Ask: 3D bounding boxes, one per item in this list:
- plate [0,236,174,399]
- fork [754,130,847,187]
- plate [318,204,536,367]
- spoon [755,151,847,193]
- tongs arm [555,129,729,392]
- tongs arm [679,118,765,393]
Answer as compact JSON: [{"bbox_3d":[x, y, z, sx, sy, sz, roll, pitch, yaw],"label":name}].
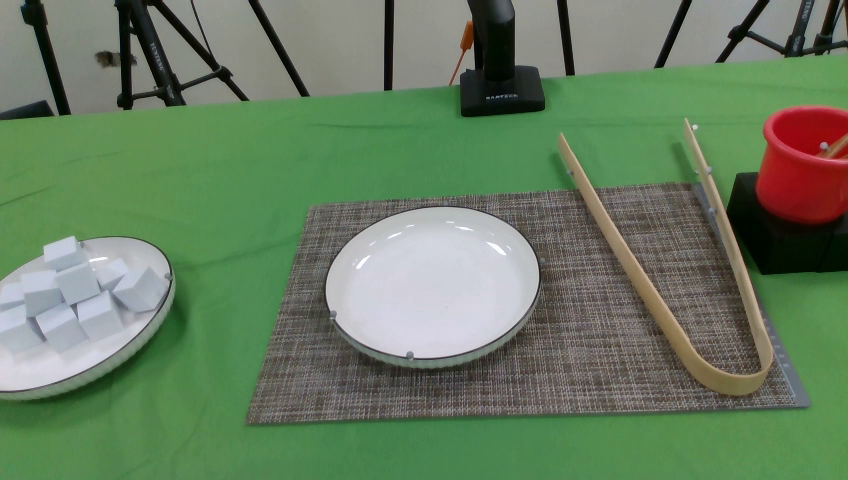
[{"bbox_3d":[-0.354,0.076,0.609,0.209,0.038,0.207,-4,41,4],"label":"plate"},{"bbox_3d":[0.398,-0.102,0.538,0.207,0.019,0.028,-36,8,29],"label":"fork"},{"bbox_3d":[0.004,0.043,0.589,0.207,0.039,0.205,-4,41,4],"label":"plate"},{"bbox_3d":[0.369,-0.073,0.508,0.041,0.193,0.021,-26,86,-27],"label":"spoon"},{"bbox_3d":[0.199,-0.008,0.623,0.028,0.028,0.383,-6,41,-6],"label":"tongs arm"},{"bbox_3d":[0.282,-0.014,0.618,0.051,0.027,0.381,1,42,6],"label":"tongs arm"}]
